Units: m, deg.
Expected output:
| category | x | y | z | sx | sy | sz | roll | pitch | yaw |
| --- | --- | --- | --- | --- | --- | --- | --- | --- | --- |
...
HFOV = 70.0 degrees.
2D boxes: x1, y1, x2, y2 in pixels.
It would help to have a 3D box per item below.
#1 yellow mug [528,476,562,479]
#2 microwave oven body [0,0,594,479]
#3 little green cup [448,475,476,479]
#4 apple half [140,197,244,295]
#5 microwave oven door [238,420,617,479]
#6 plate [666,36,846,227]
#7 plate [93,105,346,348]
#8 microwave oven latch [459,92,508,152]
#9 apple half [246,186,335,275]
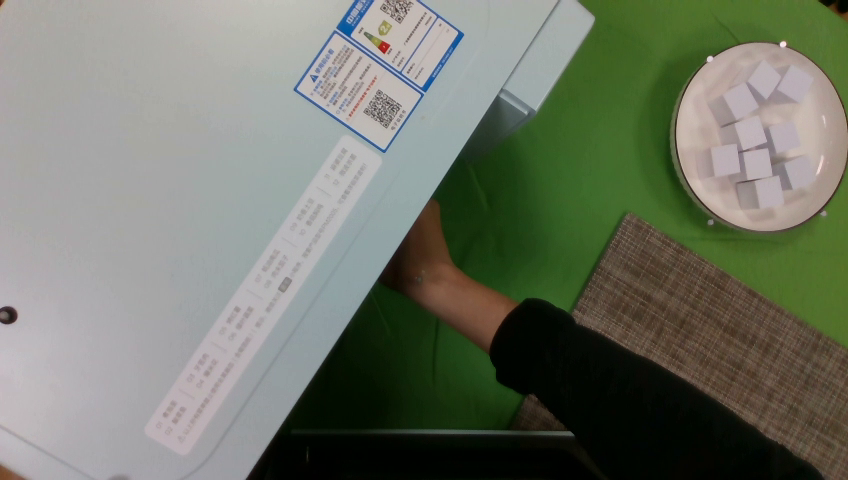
| category | x | y | z | sx | sy | sz | roll | pitch | yaw |
| --- | --- | --- | --- | --- | --- | --- | --- | --- | --- |
| yellow mug | 0.121 | 0.317 | 0.624 | 0.100 | 0.064 | 0.131 | 41 | 87 | -6 |
| microwave oven body | -0.154 | -0.063 | 0.481 | 0.327 | 0.259 | 0.441 | 34 | 87 | -7 |
| little green cup | 0.041 | 0.275 | 0.626 | 0.062 | 0.038 | 0.061 | 0 | 90 | -8 |
| apple half | -0.200 | 0.007 | 0.510 | 0.081 | 0.053 | 0.074 | 44 | 94 | -9 |
| microwave oven door | 0.018 | 0.204 | 0.504 | 0.357 | 0.243 | 0.039 | 3 | 89 | -8 |
| plate | 0.361 | -0.117 | 0.671 | 0.208 | 0.039 | 0.207 | 0 | 90 | -8 |
| plate | -0.173 | -0.011 | 0.531 | 0.209 | 0.038 | 0.209 | 0 | 91 | -8 |
| microwave oven latch | 0.053 | -0.128 | 0.607 | 0.030 | 0.029 | 0.079 | 36 | 86 | -7 |
| apple half | -0.122 | -0.004 | 0.529 | 0.081 | 0.032 | 0.081 | 0 | 97 | 0 |
